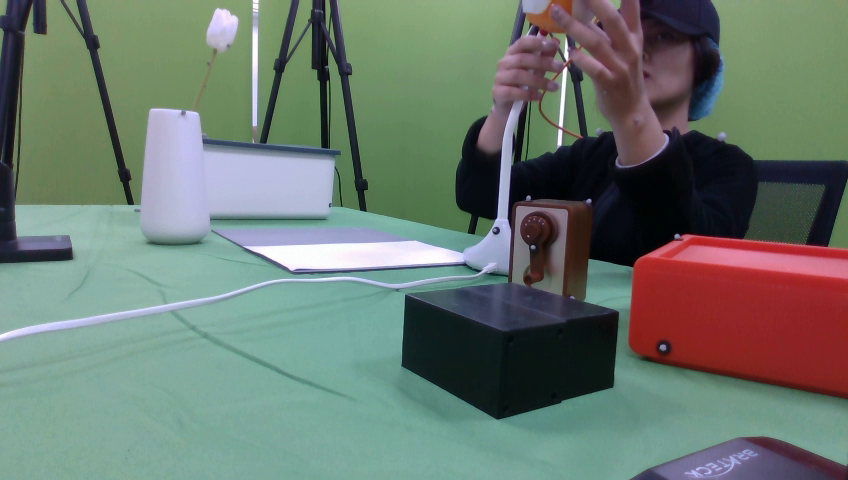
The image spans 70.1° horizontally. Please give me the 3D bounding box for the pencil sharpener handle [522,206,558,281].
[{"bbox_3d":[0.102,0.003,0.555,0.036,0.067,0.031,0,5,31],"label":"pencil sharpener handle"}]

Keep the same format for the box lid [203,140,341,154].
[{"bbox_3d":[-0.396,-0.212,1.373,0.373,0.015,0.262,-1,9,-29],"label":"box lid"}]

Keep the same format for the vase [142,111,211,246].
[{"bbox_3d":[-0.378,-0.093,0.920,0.098,0.200,0.098,2,9,0],"label":"vase"}]

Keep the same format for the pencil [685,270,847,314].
[{"bbox_3d":[0.307,0.046,0.516,0.194,0.012,0.012,13,5,-11],"label":"pencil"}]

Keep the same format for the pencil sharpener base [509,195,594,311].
[{"bbox_3d":[0.126,0.011,0.601,0.061,0.107,0.077,7,9,30],"label":"pencil sharpener base"}]

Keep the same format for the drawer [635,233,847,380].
[{"bbox_3d":[0.292,0.045,0.488,0.193,0.073,0.213,7,10,30],"label":"drawer"}]

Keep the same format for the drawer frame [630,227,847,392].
[{"bbox_3d":[0.292,0.043,0.484,0.201,0.082,0.214,7,9,29],"label":"drawer frame"}]

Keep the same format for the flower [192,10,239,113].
[{"bbox_3d":[-0.354,-0.174,0.915,0.038,0.361,0.044,18,-3,12],"label":"flower"}]

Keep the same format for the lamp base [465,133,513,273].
[{"bbox_3d":[0.132,-0.052,0.807,0.160,0.180,0.180,6,12,27],"label":"lamp base"}]

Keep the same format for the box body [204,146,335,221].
[{"bbox_3d":[-0.410,-0.135,1.386,0.366,0.160,0.253,-2,9,-29],"label":"box body"}]

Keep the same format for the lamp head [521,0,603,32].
[{"bbox_3d":[0.147,-0.281,0.626,0.112,0.123,0.112,13,19,-4],"label":"lamp head"}]
